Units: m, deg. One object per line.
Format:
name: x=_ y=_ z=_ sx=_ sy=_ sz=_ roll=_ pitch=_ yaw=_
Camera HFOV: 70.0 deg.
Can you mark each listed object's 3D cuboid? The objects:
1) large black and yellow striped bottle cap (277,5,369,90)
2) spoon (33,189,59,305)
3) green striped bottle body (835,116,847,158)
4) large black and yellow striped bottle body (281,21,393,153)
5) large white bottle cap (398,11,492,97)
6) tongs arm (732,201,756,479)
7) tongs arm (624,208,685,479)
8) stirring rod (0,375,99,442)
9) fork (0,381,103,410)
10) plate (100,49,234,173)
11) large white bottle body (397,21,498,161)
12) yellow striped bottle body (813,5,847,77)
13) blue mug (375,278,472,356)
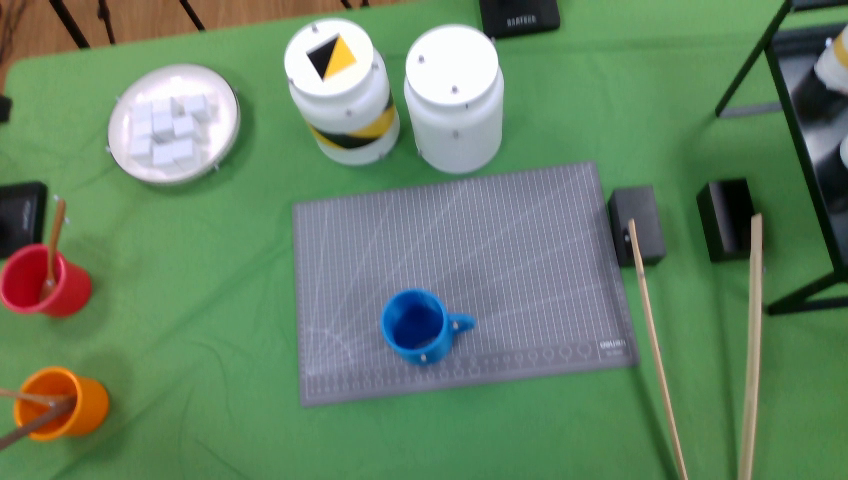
large black and yellow striped bottle cap: x=-0.127 y=-0.242 z=0.761 sx=0.115 sy=0.019 sz=0.114 roll=-1 pitch=74 yaw=3
spoon: x=-0.514 y=0.013 z=0.827 sx=0.041 sy=0.021 sz=0.194 roll=37 pitch=123 yaw=18
green striped bottle body: x=0.474 y=-0.126 z=0.603 sx=0.063 sy=0.120 sz=0.063 roll=-1 pitch=72 yaw=5
large black and yellow striped bottle body: x=-0.119 y=-0.215 z=0.839 sx=0.130 sy=0.185 sz=0.130 roll=-1 pitch=72 yaw=5
large white bottle cap: x=0.026 y=-0.228 z=0.741 sx=0.115 sy=0.018 sz=0.114 roll=-1 pitch=72 yaw=4
tongs arm: x=0.385 y=0.143 z=0.741 sx=0.028 sy=0.028 sz=0.386 roll=7 pitch=83 yaw=1
tongs arm: x=0.303 y=0.146 z=0.748 sx=0.051 sy=0.026 sz=0.383 roll=-7 pitch=82 yaw=2
stirring rod: x=-0.494 y=0.222 z=0.764 sx=0.014 sy=0.006 sz=0.176 roll=39 pitch=37 yaw=11
fork: x=-0.522 y=0.188 z=0.771 sx=0.209 sy=0.018 sz=0.028 roll=23 pitch=69 yaw=-34
plate: x=-0.391 y=-0.196 z=0.935 sx=0.207 sy=0.039 sz=0.206 roll=-1 pitch=73 yaw=5
large white bottle body: x=0.034 y=-0.202 z=0.821 sx=0.130 sy=0.186 sz=0.130 roll=-1 pitch=72 yaw=5
yellow striped bottle body: x=0.470 y=-0.229 z=0.634 sx=0.063 sy=0.121 sz=0.062 roll=-1 pitch=72 yaw=5
blue mug: x=0.003 y=0.099 z=0.771 sx=0.116 sy=0.106 sz=0.082 roll=-7 pitch=72 yaw=3
